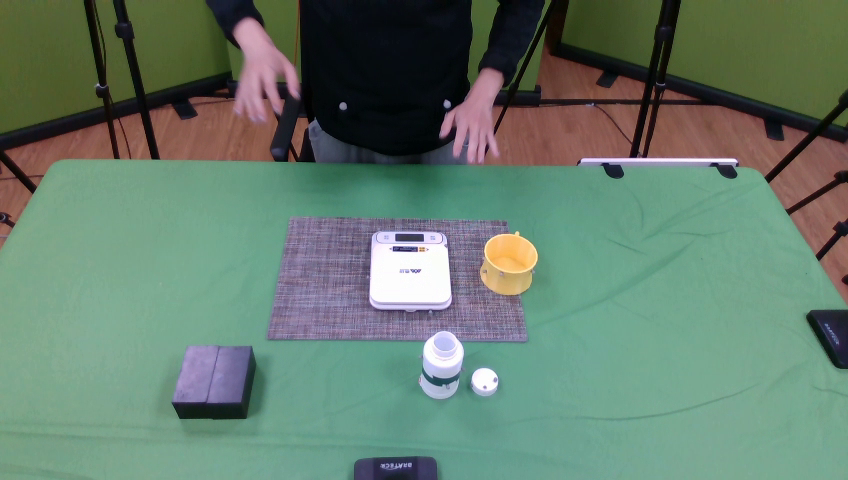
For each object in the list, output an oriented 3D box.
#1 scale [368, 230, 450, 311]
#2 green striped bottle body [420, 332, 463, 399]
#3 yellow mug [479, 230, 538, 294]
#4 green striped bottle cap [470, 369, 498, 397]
[{"bbox_3d":[-0.029,0.048,1.137,0.149,0.032,0.199,1,46,-4],"label":"scale"},{"bbox_3d":[0.027,0.193,0.947,0.063,0.120,0.063,2,47,-2],"label":"green striped bottle body"},{"bbox_3d":[0.162,0.033,1.143,0.100,0.064,0.130,15,46,9],"label":"yellow mug"},{"bbox_3d":[0.098,0.232,0.988,0.044,0.020,0.044,2,40,-1],"label":"green striped bottle cap"}]
